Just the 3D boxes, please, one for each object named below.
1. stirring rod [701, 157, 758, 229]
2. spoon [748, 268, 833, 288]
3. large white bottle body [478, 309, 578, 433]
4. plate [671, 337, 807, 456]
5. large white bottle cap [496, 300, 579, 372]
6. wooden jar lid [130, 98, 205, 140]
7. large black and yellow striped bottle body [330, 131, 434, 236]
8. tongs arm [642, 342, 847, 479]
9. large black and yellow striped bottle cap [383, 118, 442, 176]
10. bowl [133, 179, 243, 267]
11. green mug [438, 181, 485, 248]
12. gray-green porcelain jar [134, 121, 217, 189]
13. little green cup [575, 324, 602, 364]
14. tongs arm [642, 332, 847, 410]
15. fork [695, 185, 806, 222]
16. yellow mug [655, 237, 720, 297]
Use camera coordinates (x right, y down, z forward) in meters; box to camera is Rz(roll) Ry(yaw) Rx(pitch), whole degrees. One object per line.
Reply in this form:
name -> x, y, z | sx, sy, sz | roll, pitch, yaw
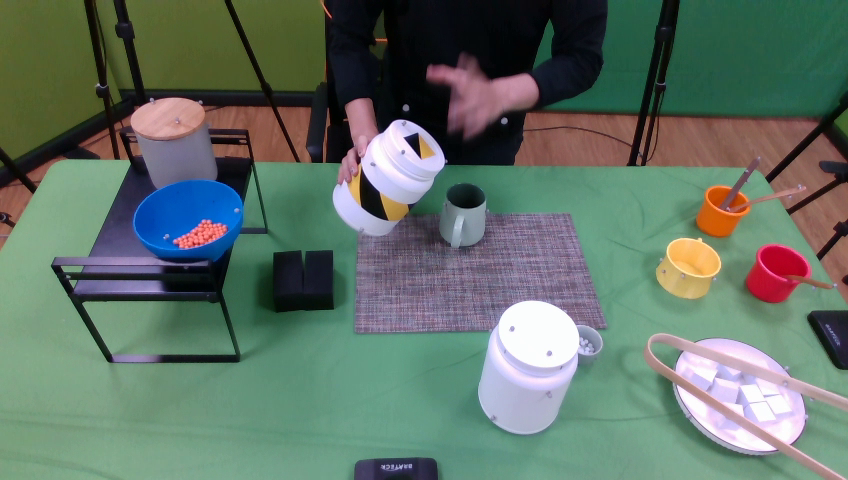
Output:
stirring rod -> 0.634, -0.097, 1.257 | 0.014, 0.006, 0.176 | 38, 97, 30
spoon -> 0.660, 0.068, 1.097 | 0.041, 0.193, 0.021 | -4, 91, -6
large white bottle body -> 0.156, 0.192, 0.913 | 0.131, 0.185, 0.130 | 2, 46, -2
plate -> 0.504, 0.254, 0.984 | 0.208, 0.039, 0.206 | 2, 46, -2
large white bottle cap -> 0.160, 0.133, 0.852 | 0.115, 0.018, 0.114 | 3, 46, -2
wooden jar lid -> -0.393, -0.183, 0.934 | 0.108, 0.021, 0.107 | 3, 44, -2
large black and yellow striped bottle body -> -0.067, -0.108, 1.072 | 0.131, 0.184, 0.130 | 27, 40, -24
tongs arm -> 0.504, 0.279, 0.918 | 0.386, 0.028, 0.028 | 33, 59, 22
large black and yellow striped bottle cap -> -0.018, -0.157, 1.022 | 0.115, 0.019, 0.114 | 28, 39, -26
bowl -> -0.339, -0.013, 0.895 | 0.151, 0.077, 0.150 | 2, 46, -2
green mug -> 0.071, -0.039, 1.177 | 0.092, 0.105, 0.124 | 12, 47, 7
gray-green porcelain jar -> -0.397, -0.141, 0.980 | 0.106, 0.127, 0.105 | 2, 47, -2
little green cup -> 0.269, 0.179, 1.035 | 0.061, 0.039, 0.061 | 2, 46, -2
tongs arm -> 0.546, 0.227, 0.968 | 0.384, 0.026, 0.050 | 22, 52, 13
fork -> 0.658, -0.074, 1.230 | 0.207, 0.019, 0.028 | -23, 36, 37
yellow mug -> 0.509, 0.041, 1.167 | 0.099, 0.064, 0.130 | 24, 48, 18
